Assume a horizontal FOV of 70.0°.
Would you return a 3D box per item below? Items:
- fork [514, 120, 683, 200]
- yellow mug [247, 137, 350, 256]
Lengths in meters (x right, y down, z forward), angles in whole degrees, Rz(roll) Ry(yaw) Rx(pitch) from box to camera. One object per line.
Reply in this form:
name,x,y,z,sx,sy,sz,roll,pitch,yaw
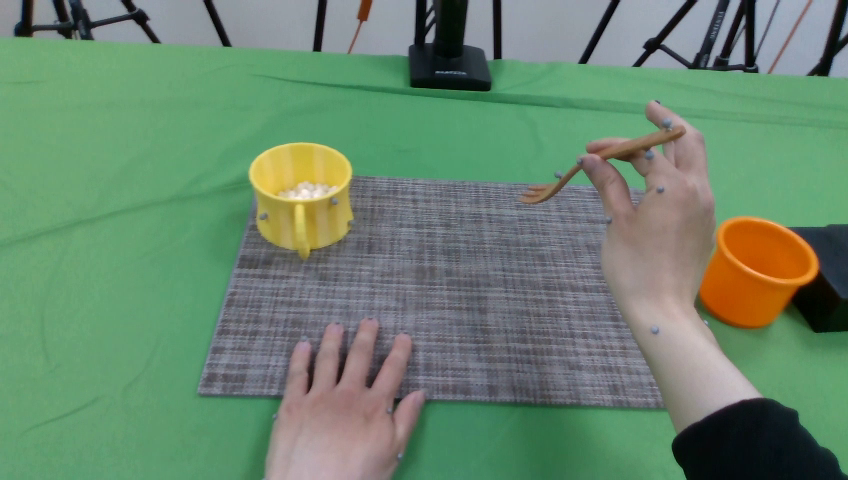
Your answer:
fork,0.125,-0.058,0.472,0.028,0.207,0.018,-44,95,-19
yellow mug,-0.124,-0.040,0.611,0.100,0.064,0.129,-2,45,-9
